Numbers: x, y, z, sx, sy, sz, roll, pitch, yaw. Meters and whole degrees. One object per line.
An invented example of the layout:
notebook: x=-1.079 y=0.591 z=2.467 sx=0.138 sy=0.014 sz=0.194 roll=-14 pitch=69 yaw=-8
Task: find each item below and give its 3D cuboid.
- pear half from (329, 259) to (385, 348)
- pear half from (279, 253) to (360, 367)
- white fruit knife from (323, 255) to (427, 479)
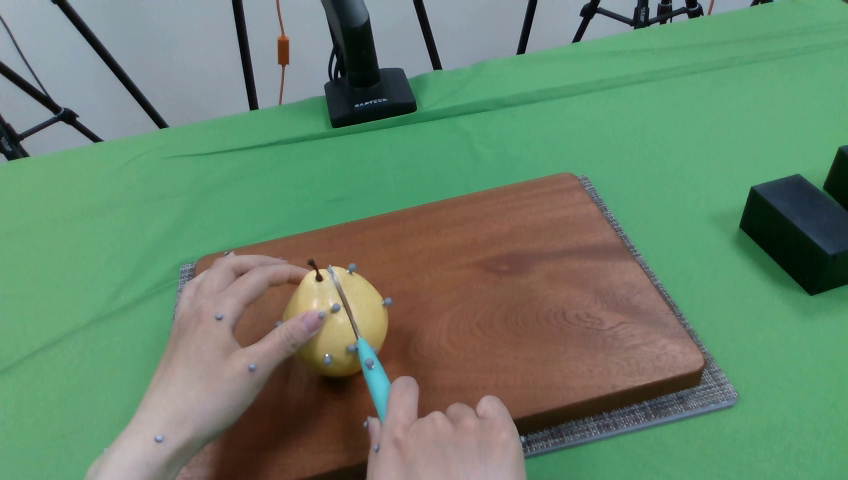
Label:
pear half: x=-0.049 y=0.047 z=0.474 sx=0.031 sy=0.089 sz=0.069 roll=-22 pitch=37 yaw=-17
pear half: x=-0.085 y=0.053 z=0.459 sx=0.056 sy=0.111 sz=0.075 roll=-27 pitch=42 yaw=-12
white fruit knife: x=-0.044 y=0.079 z=0.442 sx=0.016 sy=0.028 sz=0.205 roll=-23 pitch=47 yaw=-11
